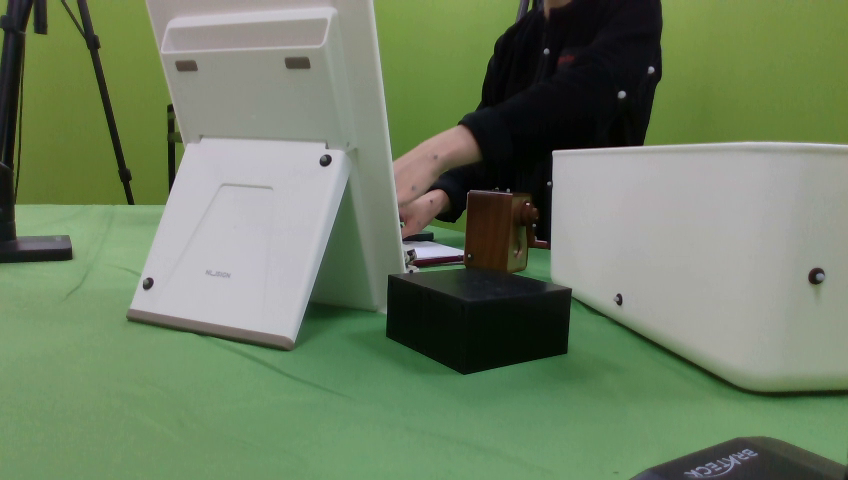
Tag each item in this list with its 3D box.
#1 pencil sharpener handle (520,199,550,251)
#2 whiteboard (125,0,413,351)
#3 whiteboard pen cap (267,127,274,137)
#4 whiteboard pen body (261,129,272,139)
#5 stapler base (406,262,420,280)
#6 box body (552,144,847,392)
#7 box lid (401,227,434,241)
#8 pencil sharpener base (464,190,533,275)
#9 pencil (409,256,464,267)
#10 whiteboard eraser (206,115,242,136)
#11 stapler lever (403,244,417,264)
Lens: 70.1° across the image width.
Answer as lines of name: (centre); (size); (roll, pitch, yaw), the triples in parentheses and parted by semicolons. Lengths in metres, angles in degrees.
pencil sharpener handle: (0.147, -0.019, 0.785); (0.030, 0.068, 0.036); (8, 25, 36)
whiteboard: (-0.151, -0.050, 0.471); (0.216, 0.305, 0.144); (6, 27, 24)
whiteboard pen cap: (-0.340, -0.239, 1.337); (0.018, 0.018, 0.033); (1, -1, -14)
whiteboard pen body: (-0.361, -0.245, 1.393); (0.017, 0.017, 0.140); (0, 5, -20)
stapler base: (-0.069, 0.027, 0.759); (0.130, 0.024, 0.041); (9, 13, 23)
box body: (0.290, 0.002, 0.549); (0.255, 0.160, 0.363); (2, 7, -10)
box lid: (-0.196, -0.015, 1.105); (0.373, 0.015, 0.262); (-1, 7, -32)
pencil sharpener base: (0.103, -0.012, 0.813); (0.076, 0.107, 0.061); (8, 9, 36)
pencil: (0.041, 0.028, 0.850); (0.012, 0.012, 0.195); (10, 10, 44)
whiteboard eraser: (-0.438, -0.249, 1.320); (0.056, 0.042, 0.112); (-3, 9, -30)
stapler lever: (-0.066, 0.003, 0.755); (0.117, 0.040, 0.027); (9, 13, 23)
